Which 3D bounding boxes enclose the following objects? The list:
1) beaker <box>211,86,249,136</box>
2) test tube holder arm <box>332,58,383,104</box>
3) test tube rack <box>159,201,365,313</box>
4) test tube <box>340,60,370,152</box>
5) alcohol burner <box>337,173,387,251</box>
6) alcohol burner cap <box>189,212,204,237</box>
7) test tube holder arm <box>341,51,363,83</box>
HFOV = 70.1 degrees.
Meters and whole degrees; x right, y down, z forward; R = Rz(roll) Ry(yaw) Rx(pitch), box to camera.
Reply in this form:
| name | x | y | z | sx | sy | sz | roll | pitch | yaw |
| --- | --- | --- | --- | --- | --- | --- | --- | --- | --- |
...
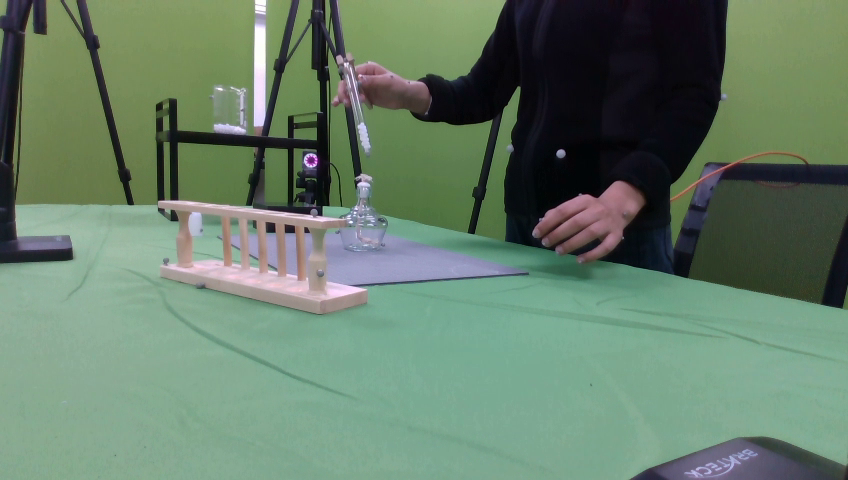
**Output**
| name | x | y | z | sx | sy | sz | roll | pitch | yaw |
| --- | --- | --- | --- | --- | --- | --- | --- | --- | --- |
| beaker | -0.413 | -0.274 | 1.297 | 0.074 | 0.100 | 0.083 | -5 | 11 | -44 |
| test tube holder arm | -0.107 | -0.262 | 1.003 | 0.013 | 0.015 | 0.179 | -35 | -15 | 10 |
| test tube rack | -0.173 | 0.009 | 0.624 | 0.241 | 0.085 | 0.067 | 7 | 9 | 34 |
| test tube | -0.105 | -0.206 | 0.929 | 0.017 | 0.150 | 0.017 | -14 | -8 | -2 |
| alcohol burner | -0.095 | -0.043 | 0.926 | 0.078 | 0.119 | 0.078 | 3 | 5 | 0 |
| alcohol burner cap | -0.389 | -0.029 | 1.026 | 0.034 | 0.048 | 0.034 | 3 | 9 | 0 |
| test tube holder arm | -0.114 | -0.272 | 0.959 | 0.010 | 0.015 | 0.088 | -33 | -15 | 0 |
